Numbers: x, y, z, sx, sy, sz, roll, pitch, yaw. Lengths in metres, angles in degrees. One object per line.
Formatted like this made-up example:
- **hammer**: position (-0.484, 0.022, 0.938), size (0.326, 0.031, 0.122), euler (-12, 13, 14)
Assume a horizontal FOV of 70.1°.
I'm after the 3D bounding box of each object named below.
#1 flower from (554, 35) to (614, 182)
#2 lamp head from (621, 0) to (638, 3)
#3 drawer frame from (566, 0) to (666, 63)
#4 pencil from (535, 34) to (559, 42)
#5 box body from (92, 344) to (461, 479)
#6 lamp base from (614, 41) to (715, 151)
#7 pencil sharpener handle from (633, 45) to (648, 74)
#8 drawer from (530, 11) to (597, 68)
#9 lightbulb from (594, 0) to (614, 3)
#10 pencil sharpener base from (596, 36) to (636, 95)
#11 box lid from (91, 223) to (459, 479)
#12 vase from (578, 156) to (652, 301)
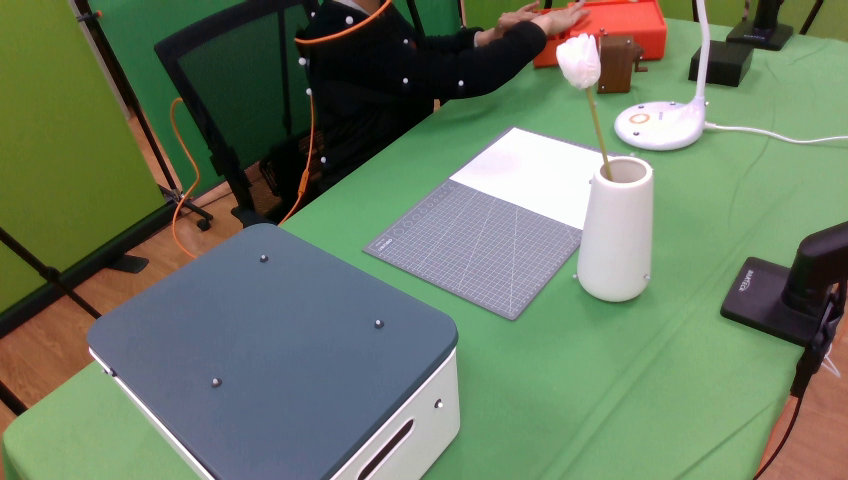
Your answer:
- **flower**: position (0.237, -0.083, 0.774), size (0.044, 0.363, 0.038), euler (-22, 26, 6)
- **lamp head**: position (0.319, -0.453, 0.962), size (0.113, 0.123, 0.112), euler (20, 33, -13)
- **drawer frame**: position (0.448, -0.497, 1.443), size (0.213, 0.083, 0.201), euler (0, 40, 10)
- **pencil**: position (0.327, -0.478, 1.467), size (0.012, 0.012, 0.192), euler (-23, 36, -16)
- **box body**: position (-0.162, 0.170, 0.708), size (0.361, 0.161, 0.255), euler (25, 50, 34)
- **lamp base**: position (0.449, -0.277, 1.106), size (0.179, 0.181, 0.160), euler (1, 41, 9)
- **pencil sharpener handle**: position (0.454, -0.378, 1.262), size (0.030, 0.068, 0.036), euler (2, 47, 13)
- **drawer**: position (0.363, -0.493, 1.458), size (0.211, 0.073, 0.194), euler (0, 40, 10)
- **lightbulb**: position (0.305, -0.437, 0.977), size (0.060, 0.107, 0.059), euler (12, 45, -11)
- **pencil sharpener base**: position (0.405, -0.369, 1.280), size (0.076, 0.107, 0.061), euler (2, 41, 13)
- **box lid**: position (-0.174, 0.103, 0.666), size (0.368, 0.015, 0.264), euler (24, 49, 35)
- **vase**: position (0.261, -0.011, 0.812), size (0.098, 0.201, 0.097), euler (-5, 40, 4)
